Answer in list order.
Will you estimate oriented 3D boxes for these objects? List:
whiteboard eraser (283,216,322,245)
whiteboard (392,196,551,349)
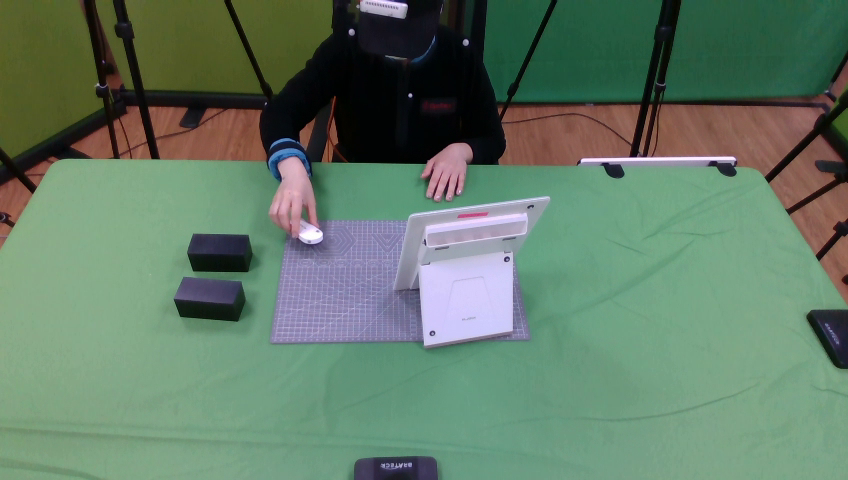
[{"bbox_3d":[-0.236,-0.020,1.174,0.041,0.019,0.100,-22,40,-37],"label":"whiteboard eraser"},{"bbox_3d":[0.077,0.071,0.977,0.217,0.306,0.143,-7,67,-11],"label":"whiteboard"}]
